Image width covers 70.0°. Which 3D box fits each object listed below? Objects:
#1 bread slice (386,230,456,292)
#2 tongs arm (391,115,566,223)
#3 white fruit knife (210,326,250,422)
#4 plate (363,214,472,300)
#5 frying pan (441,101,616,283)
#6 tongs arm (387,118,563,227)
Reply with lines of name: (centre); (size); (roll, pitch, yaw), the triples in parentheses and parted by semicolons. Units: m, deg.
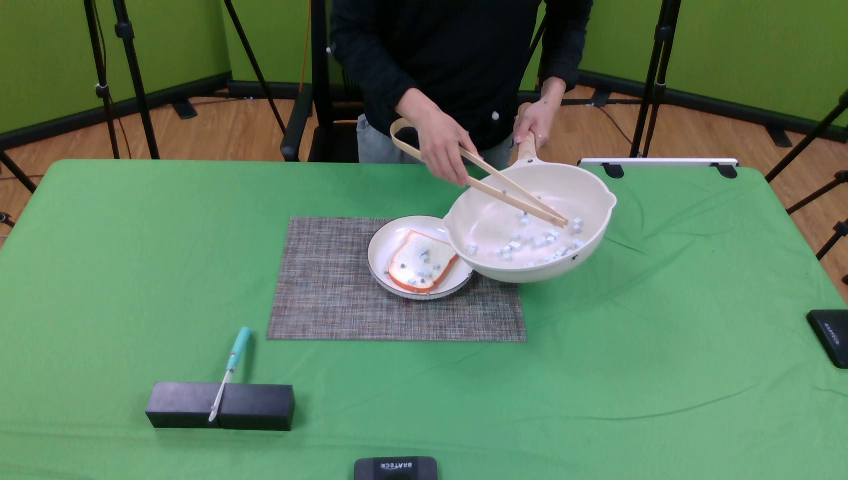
bread slice: (-0.007, 0.042, 1.142); (0.107, 0.018, 0.134); (18, 47, 14)
tongs arm: (0.091, -0.134, 1.091); (0.386, 0.028, 0.028); (35, 78, 23)
white fruit knife: (-0.301, 0.201, 0.942); (0.016, 0.027, 0.206); (2, 32, -2)
plate: (-0.010, 0.036, 1.146); (0.208, 0.039, 0.206); (3, 46, -2)
frying pan: (0.196, -0.109, 1.144); (0.306, 0.103, 0.485); (-6, 49, 16)
tongs arm: (0.084, -0.126, 1.088); (0.383, 0.026, 0.050); (27, 71, 21)
